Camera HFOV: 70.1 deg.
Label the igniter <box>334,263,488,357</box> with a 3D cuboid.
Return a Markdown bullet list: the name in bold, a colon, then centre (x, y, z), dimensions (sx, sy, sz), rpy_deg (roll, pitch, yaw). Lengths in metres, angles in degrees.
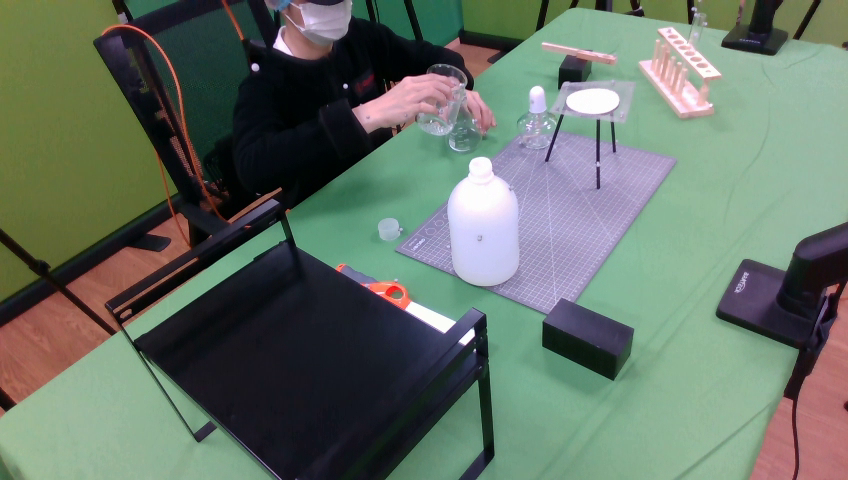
- **igniter**: centre (-0.030, 0.095, 0.872), dimensions (0.274, 0.025, 0.057), rpy_deg (23, 60, 31)

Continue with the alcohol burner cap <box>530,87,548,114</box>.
- **alcohol burner cap**: centre (0.212, -0.262, 1.126), dimensions (0.034, 0.048, 0.033), rpy_deg (-9, 36, 7)

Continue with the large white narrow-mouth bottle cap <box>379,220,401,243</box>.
- **large white narrow-mouth bottle cap**: centre (-0.057, -0.015, 1.011), dimensions (0.038, 0.024, 0.037), rpy_deg (-4, 40, 4)

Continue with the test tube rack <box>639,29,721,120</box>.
- **test tube rack**: centre (0.527, -0.351, 1.262), dimensions (0.067, 0.085, 0.241), rpy_deg (-8, 40, 1)

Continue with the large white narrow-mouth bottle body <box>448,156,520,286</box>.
- **large white narrow-mouth bottle body**: centre (0.086, -0.032, 0.869), dimensions (0.102, 0.195, 0.101), rpy_deg (-4, 40, 4)

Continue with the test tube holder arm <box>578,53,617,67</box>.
- **test tube holder arm**: centre (0.376, -0.393, 1.314), dimensions (0.087, 0.015, 0.010), rpy_deg (26, 51, 32)

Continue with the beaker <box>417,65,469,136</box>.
- **beaker**: centre (0.032, -0.238, 1.052), dimensions (0.073, 0.084, 0.100), rpy_deg (9, 70, 21)

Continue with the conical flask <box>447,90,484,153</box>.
- **conical flask**: centre (0.072, -0.230, 1.156), dimensions (0.075, 0.122, 0.075), rpy_deg (-5, 59, 10)

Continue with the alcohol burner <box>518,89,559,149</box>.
- **alcohol burner**: centre (0.218, -0.235, 1.149), dimensions (0.078, 0.119, 0.077), rpy_deg (-5, 43, 5)

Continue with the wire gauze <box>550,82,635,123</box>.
- **wire gauze**: centre (0.285, -0.236, 1.020), dimensions (0.124, 0.011, 0.121), rpy_deg (10, 44, 22)

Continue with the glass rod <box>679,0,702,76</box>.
- **glass rod**: centre (0.543, -0.417, 1.233), dimensions (0.008, 0.200, 0.008), rpy_deg (1, 39, 0)

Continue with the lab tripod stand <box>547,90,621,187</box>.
- **lab tripod stand**: centre (0.289, -0.184, 1.062), dimensions (0.148, 0.132, 0.147), rpy_deg (-6, 41, 6)

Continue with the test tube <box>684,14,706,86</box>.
- **test tube**: centre (0.540, -0.378, 1.215), dimensions (0.017, 0.151, 0.017), rpy_deg (-2, 44, 3)

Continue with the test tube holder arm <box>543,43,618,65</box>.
- **test tube holder arm**: centre (0.345, -0.413, 1.341), dimensions (0.177, 0.015, 0.013), rpy_deg (25, 50, 32)
